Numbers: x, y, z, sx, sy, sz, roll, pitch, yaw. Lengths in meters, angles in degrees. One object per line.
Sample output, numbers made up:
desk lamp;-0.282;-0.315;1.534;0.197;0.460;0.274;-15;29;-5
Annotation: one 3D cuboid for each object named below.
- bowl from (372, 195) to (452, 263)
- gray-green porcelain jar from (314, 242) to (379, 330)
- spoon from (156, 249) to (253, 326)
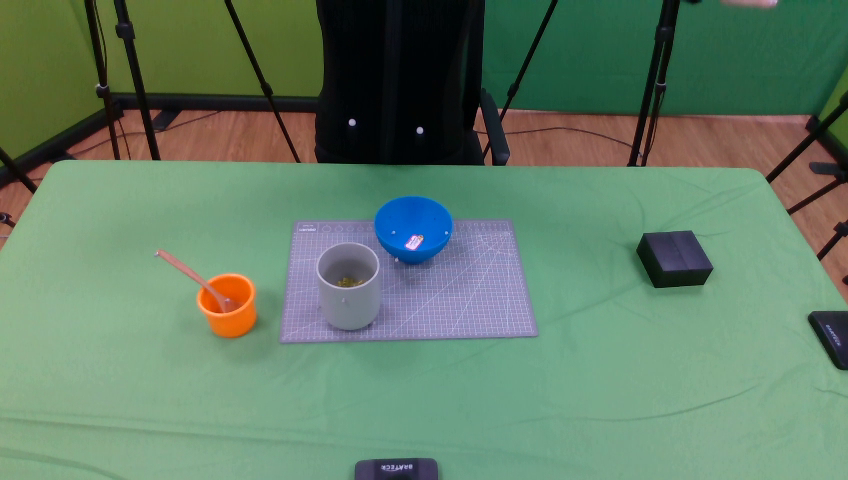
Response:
bowl;-0.023;-0.008;1.161;0.151;0.077;0.150;2;46;-2
gray-green porcelain jar;-0.129;0.083;1.031;0.106;0.127;0.105;2;46;-2
spoon;-0.363;0.077;1.007;0.021;0.194;0.041;-23;30;38
